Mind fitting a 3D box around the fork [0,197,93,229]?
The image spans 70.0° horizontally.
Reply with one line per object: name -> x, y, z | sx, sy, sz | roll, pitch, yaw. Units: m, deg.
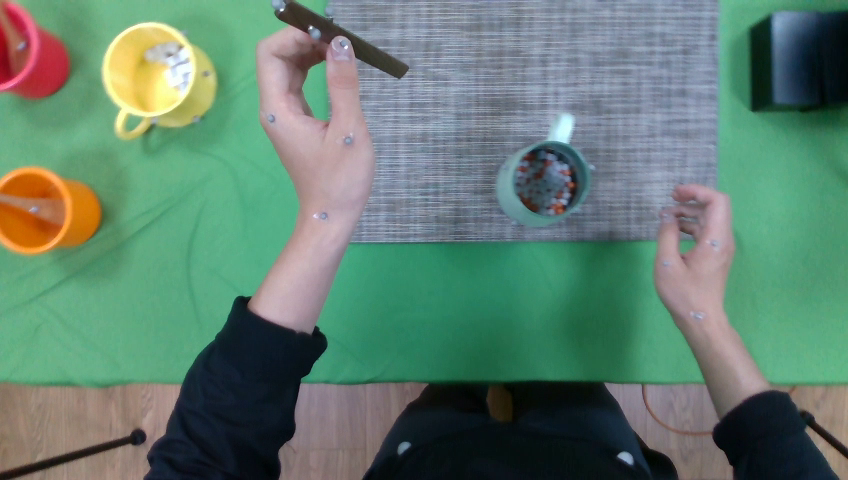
fork -> -0.463, -0.044, 0.637 | 0.209, 0.018, 0.028 | 17, 90, -43

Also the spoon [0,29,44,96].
spoon -> -0.459, -0.240, 0.633 | 0.041, 0.021, 0.195 | -6, 136, -1

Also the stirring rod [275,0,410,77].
stirring rod -> -0.048, -0.135, 0.418 | 0.014, 0.176, 0.006 | -46, 77, 17

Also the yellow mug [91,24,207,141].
yellow mug -> -0.312, -0.167, 0.675 | 0.100, 0.064, 0.131 | 31, 92, -1

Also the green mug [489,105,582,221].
green mug -> 0.124, -0.083, 0.653 | 0.092, 0.105, 0.125 | 15, 91, 1
